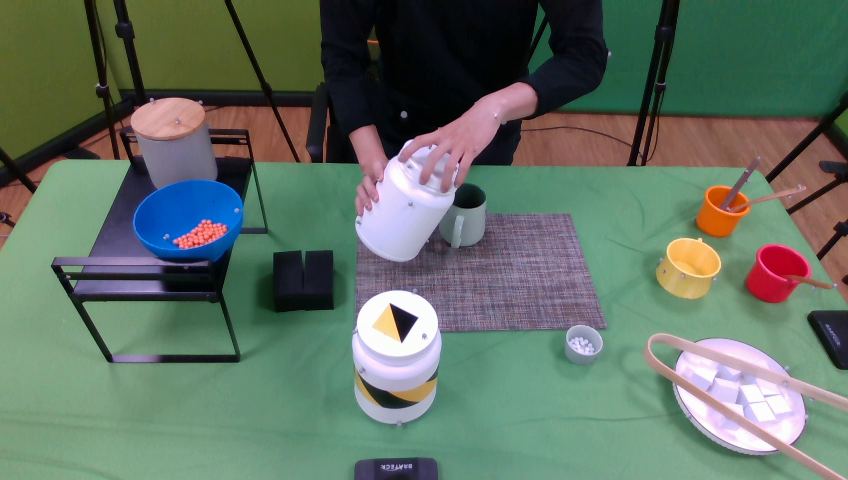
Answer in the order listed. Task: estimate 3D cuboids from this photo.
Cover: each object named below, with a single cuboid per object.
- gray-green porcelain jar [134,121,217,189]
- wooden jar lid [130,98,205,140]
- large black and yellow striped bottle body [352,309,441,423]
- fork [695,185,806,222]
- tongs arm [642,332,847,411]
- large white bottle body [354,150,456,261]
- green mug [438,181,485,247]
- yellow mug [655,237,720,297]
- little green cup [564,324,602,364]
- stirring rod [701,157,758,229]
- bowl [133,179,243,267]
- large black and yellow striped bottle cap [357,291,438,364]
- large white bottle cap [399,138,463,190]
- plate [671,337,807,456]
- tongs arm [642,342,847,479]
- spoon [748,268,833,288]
[{"bbox_3d":[-0.397,-0.141,0.980,0.106,0.127,0.105,2,47,-2],"label":"gray-green porcelain jar"},{"bbox_3d":[-0.393,-0.183,0.934,0.108,0.021,0.107,2,43,-2],"label":"wooden jar lid"},{"bbox_3d":[-0.042,0.178,0.913,0.131,0.185,0.130,2,46,-2],"label":"large black and yellow striped bottle body"},{"bbox_3d":[0.658,-0.074,1.229,0.207,0.019,0.028,-23,36,37],"label":"fork"},{"bbox_3d":[0.546,0.227,0.968,0.384,0.026,0.050,22,52,13],"label":"tongs arm"},{"bbox_3d":[-0.029,-0.068,1.057,0.131,0.185,0.130,23,35,-17],"label":"large white bottle body"},{"bbox_3d":[0.071,-0.039,1.178,0.092,0.105,0.124,12,47,7],"label":"green mug"},{"bbox_3d":[0.509,0.041,1.167,0.099,0.064,0.130,24,48,18],"label":"yellow mug"},{"bbox_3d":[0.269,0.180,1.035,0.061,0.039,0.061,2,45,-2],"label":"little green cup"},{"bbox_3d":[0.634,-0.097,1.257,0.014,0.006,0.176,38,97,29],"label":"stirring rod"},{"bbox_3d":[-0.339,-0.013,0.895,0.151,0.077,0.150,2,46,-2],"label":"bowl"},{"bbox_3d":[-0.037,0.121,0.851,0.115,0.019,0.114,1,46,-1],"label":"large black and yellow striped bottle cap"},{"bbox_3d":[0.013,-0.128,1.009,0.115,0.018,0.114,23,35,-17],"label":"large white bottle cap"},{"bbox_3d":[0.503,0.254,0.984,0.208,0.039,0.206,2,46,-2],"label":"plate"},{"bbox_3d":[0.504,0.279,0.918,0.386,0.028,0.028,33,59,22],"label":"tongs arm"},{"bbox_3d":[0.660,0.068,1.097,0.041,0.193,0.021,-4,91,-6],"label":"spoon"}]
